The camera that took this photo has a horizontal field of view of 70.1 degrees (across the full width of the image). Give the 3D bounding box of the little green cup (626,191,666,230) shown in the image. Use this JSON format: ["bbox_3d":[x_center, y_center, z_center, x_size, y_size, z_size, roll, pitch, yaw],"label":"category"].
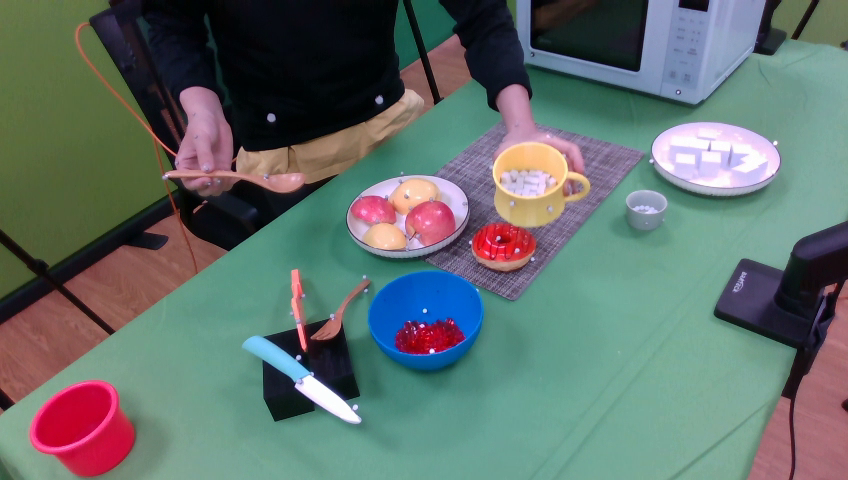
[{"bbox_3d":[0.352,-0.046,0.963,0.061,0.039,0.061,-4,40,4],"label":"little green cup"}]

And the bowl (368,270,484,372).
[{"bbox_3d":[0.007,0.118,0.792,0.151,0.077,0.150,-5,40,4],"label":"bowl"}]

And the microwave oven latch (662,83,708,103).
[{"bbox_3d":[0.517,-0.296,1.204,0.078,0.029,0.030,28,52,35],"label":"microwave oven latch"}]

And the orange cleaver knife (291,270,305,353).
[{"bbox_3d":[-0.175,0.094,0.844,0.012,0.077,0.210,-11,14,-10],"label":"orange cleaver knife"}]

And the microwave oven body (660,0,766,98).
[{"bbox_3d":[0.472,-0.513,1.317,0.438,0.261,0.327,26,51,34],"label":"microwave oven body"}]

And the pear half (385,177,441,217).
[{"bbox_3d":[-0.030,-0.079,1.033,0.109,0.056,0.076,-1,36,15],"label":"pear half"}]

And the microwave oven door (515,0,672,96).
[{"bbox_3d":[0.343,-0.455,1.259,0.353,0.245,0.039,26,51,33],"label":"microwave oven door"}]

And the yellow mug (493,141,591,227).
[{"bbox_3d":[0.160,-0.076,0.822,0.130,0.064,0.099,4,57,11],"label":"yellow mug"}]

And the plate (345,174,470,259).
[{"bbox_3d":[-0.026,-0.036,1.004,0.209,0.038,0.208,-4,40,4],"label":"plate"}]

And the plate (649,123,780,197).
[{"bbox_3d":[0.497,-0.135,1.046,0.207,0.039,0.206,-4,40,4],"label":"plate"}]

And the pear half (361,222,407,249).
[{"bbox_3d":[-0.063,-0.013,0.958,0.071,0.031,0.087,3,24,-25],"label":"pear half"}]

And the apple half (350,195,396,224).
[{"bbox_3d":[-0.081,-0.056,1.008,0.081,0.033,0.081,11,24,-4],"label":"apple half"}]

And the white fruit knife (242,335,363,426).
[{"bbox_3d":[-0.148,0.167,0.730,0.206,0.016,0.027,26,80,31],"label":"white fruit knife"}]

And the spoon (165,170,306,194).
[{"bbox_3d":[-0.262,-0.086,0.839,0.194,0.022,0.041,6,50,-3],"label":"spoon"}]

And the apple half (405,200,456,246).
[{"bbox_3d":[0.010,-0.035,0.969,0.075,0.053,0.080,-27,40,-22],"label":"apple half"}]

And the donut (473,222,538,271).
[{"bbox_3d":[0.124,0.009,0.923,0.099,0.048,0.098,-4,37,3],"label":"donut"}]

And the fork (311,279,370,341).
[{"bbox_3d":[-0.108,0.092,0.832,0.028,0.019,0.207,-7,19,15],"label":"fork"}]
